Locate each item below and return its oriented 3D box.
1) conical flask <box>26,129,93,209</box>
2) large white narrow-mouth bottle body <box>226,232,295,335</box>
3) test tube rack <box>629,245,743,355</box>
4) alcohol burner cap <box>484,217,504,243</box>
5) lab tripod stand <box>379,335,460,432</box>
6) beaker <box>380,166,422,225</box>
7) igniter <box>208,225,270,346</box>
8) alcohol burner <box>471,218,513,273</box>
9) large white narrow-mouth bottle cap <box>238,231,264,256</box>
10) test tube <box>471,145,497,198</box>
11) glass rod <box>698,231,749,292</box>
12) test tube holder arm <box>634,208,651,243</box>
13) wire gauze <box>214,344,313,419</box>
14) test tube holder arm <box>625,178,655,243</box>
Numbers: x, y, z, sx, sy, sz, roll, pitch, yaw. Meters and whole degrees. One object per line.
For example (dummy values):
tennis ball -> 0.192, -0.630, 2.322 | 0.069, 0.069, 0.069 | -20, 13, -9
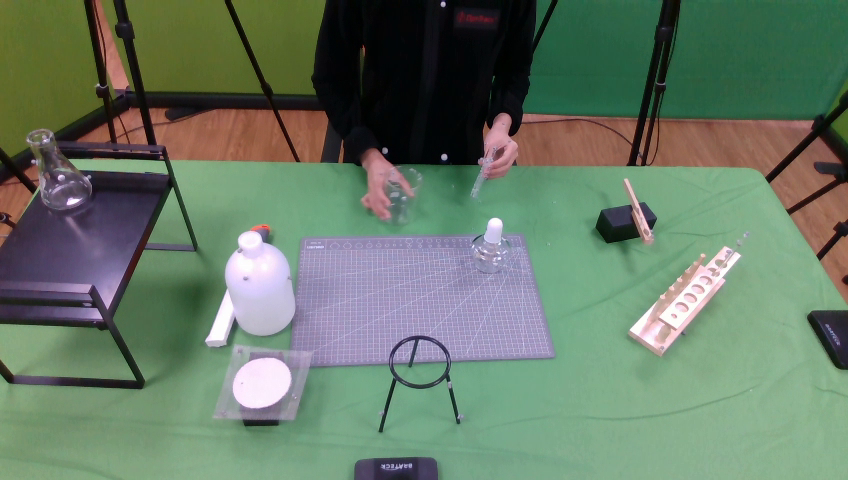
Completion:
conical flask -> -0.575, -0.113, 0.946 | 0.075, 0.122, 0.075 | 2, 46, -2
large white narrow-mouth bottle body -> -0.270, 0.065, 0.995 | 0.102, 0.195, 0.101 | 2, 46, -2
test tube rack -> 0.474, 0.095, 1.091 | 0.242, 0.085, 0.066 | -34, 56, -31
alcohol burner cap -> 0.129, -0.021, 1.107 | 0.034, 0.048, 0.033 | 4, 41, -3
lab tripod stand -> -0.011, 0.214, 0.911 | 0.148, 0.132, 0.147 | 1, 45, 0
beaker -> -0.048, -0.087, 1.220 | 0.084, 0.100, 0.073 | -13, 49, -25
igniter -> -0.331, 0.072, 1.099 | 0.057, 0.025, 0.275 | -4, 45, 10
alcohol burner -> 0.128, 0.005, 1.132 | 0.078, 0.120, 0.077 | 0, 47, 0
large white narrow-mouth bottle cap -> -0.266, 0.006, 0.932 | 0.038, 0.024, 0.037 | 2, 46, -2
test tube -> 0.117, -0.133, 1.198 | 0.017, 0.151, 0.017 | 6, 55, -9
glass rod -> 0.515, 0.044, 1.051 | 0.008, 0.200, 0.008 | 1, 55, -1
test tube holder arm -> 0.428, -0.030, 1.189 | 0.010, 0.015, 0.087 | 1, 47, -2
wire gauze -> -0.241, 0.213, 0.915 | 0.121, 0.011, 0.124 | 5, 46, 1
test tube holder arm -> 0.433, -0.062, 1.220 | 0.013, 0.015, 0.177 | 0, 47, -3
